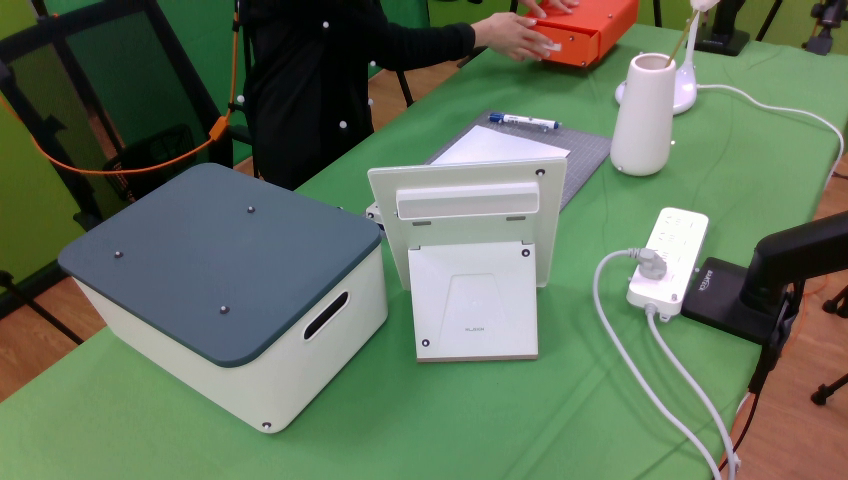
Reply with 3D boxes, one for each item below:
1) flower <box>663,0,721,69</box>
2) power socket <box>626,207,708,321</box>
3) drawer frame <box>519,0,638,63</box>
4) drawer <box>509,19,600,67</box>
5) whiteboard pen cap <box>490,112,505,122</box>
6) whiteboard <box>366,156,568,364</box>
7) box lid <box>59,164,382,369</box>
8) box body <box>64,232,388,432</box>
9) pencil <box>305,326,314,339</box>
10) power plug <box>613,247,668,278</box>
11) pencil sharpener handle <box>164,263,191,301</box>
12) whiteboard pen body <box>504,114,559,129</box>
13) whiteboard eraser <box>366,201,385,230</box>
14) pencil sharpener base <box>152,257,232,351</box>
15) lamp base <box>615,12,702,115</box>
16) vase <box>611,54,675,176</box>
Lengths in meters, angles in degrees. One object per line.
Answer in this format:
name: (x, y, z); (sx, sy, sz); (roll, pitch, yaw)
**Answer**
flower: (0.379, -0.261, 0.965); (0.044, 0.362, 0.038); (20, 52, 5)
power socket: (0.359, 0.025, 0.886); (0.072, 0.033, 0.227); (16, 46, 26)
drawer frame: (0.359, -0.509, 1.412); (0.200, 0.083, 0.214); (21, 51, 30)
drawer: (0.330, -0.482, 1.382); (0.193, 0.073, 0.212); (22, 47, 30)
whiteboard pen cap: (0.154, -0.253, 1.250); (0.033, 0.018, 0.018); (15, 45, 26)
whiteboard: (0.059, 0.050, 0.738); (0.217, 0.307, 0.143); (-2, 60, 6)
box lid: (-0.263, 0.010, 0.777); (0.368, 0.015, 0.264); (20, 47, 29)
box body: (-0.256, 0.065, 0.827); (0.361, 0.161, 0.255); (20, 48, 29)
pencil: (-0.187, 0.106, 0.880); (0.012, 0.012, 0.192); (-27, 41, -22)
power plug: (0.306, 0.031, 0.851); (0.072, 0.053, 0.035); (24, 49, 34)
pencil sharpener handle: (-0.354, 0.055, 0.866); (0.036, 0.068, 0.030); (-17, 39, -29)
whiteboard pen body: (0.205, -0.242, 1.225); (0.140, 0.017, 0.017); (14, 45, 26)
whiteboard eraser: (-0.038, -0.038, 1.006); (0.112, 0.042, 0.055); (16, 47, 25)
pencil sharpener base: (-0.322, 0.088, 0.841); (0.061, 0.107, 0.076); (-27, 44, -20)
lamp base: (0.484, -0.364, 1.211); (0.180, 0.181, 0.159); (-15, 41, -14)
vase: (0.377, -0.209, 1.031); (0.098, 0.201, 0.097); (-4, 40, 3)
